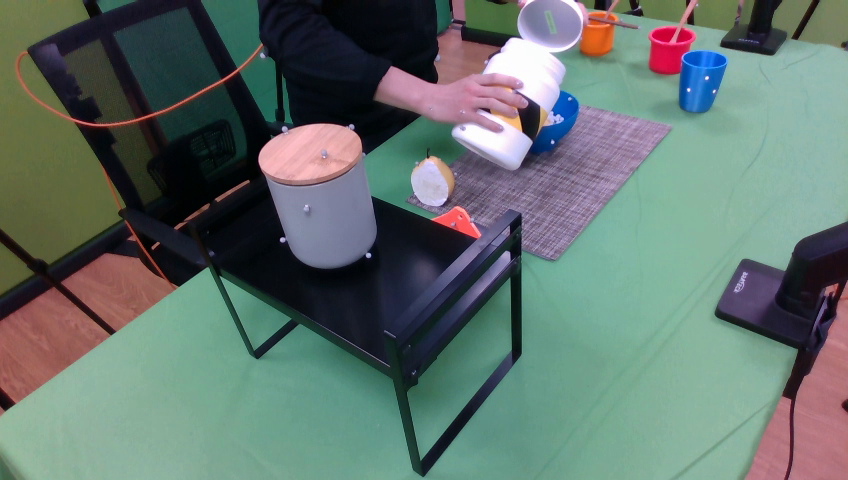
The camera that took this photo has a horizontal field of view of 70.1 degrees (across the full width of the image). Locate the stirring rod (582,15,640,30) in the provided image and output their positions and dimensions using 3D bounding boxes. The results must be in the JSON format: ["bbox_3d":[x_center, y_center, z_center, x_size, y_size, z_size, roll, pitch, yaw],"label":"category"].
[{"bbox_3d":[0.419,-0.508,1.404,0.174,0.006,0.014,28,55,35],"label":"stirring rod"}]

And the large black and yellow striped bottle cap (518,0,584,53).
[{"bbox_3d":[0.225,-0.382,1.071,0.114,0.115,0.019,10,61,20],"label":"large black and yellow striped bottle cap"}]

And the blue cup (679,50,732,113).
[{"bbox_3d":[0.546,-0.309,1.193,0.092,0.100,0.092,-4,39,4],"label":"blue cup"}]

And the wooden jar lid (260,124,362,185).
[{"bbox_3d":[-0.119,-0.088,0.645,0.108,0.021,0.108,-4,40,4],"label":"wooden jar lid"}]

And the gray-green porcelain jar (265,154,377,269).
[{"bbox_3d":[-0.112,-0.039,0.685,0.106,0.127,0.105,-4,40,4],"label":"gray-green porcelain jar"}]

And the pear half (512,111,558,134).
[{"bbox_3d":[0.212,-0.227,1.151,0.088,0.031,0.070,7,43,9],"label":"pear half"}]

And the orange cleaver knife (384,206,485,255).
[{"bbox_3d":[0.012,-0.010,0.942,0.012,0.077,0.210,-37,20,-35],"label":"orange cleaver knife"}]

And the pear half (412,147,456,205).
[{"bbox_3d":[0.019,-0.120,1.042,0.076,0.110,0.056,11,43,16],"label":"pear half"}]

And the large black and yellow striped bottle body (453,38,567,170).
[{"bbox_3d":[0.145,-0.226,1.007,0.129,0.132,0.184,34,98,38],"label":"large black and yellow striped bottle body"}]

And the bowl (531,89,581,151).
[{"bbox_3d":[0.220,-0.223,1.155,0.151,0.077,0.150,-4,40,4],"label":"bowl"}]

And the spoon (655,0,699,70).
[{"bbox_3d":[0.567,-0.463,1.337,0.041,0.022,0.193,30,96,38],"label":"spoon"}]

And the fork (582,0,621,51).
[{"bbox_3d":[0.446,-0.539,1.438,0.207,0.019,0.028,-57,36,12],"label":"fork"}]
